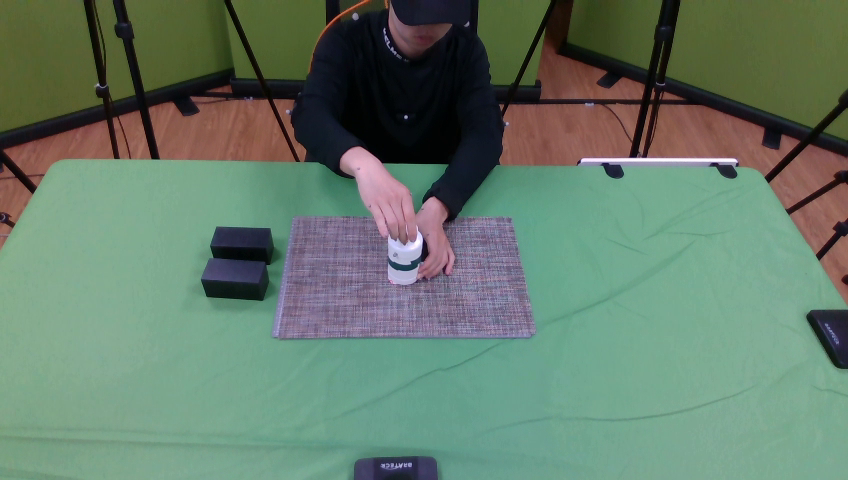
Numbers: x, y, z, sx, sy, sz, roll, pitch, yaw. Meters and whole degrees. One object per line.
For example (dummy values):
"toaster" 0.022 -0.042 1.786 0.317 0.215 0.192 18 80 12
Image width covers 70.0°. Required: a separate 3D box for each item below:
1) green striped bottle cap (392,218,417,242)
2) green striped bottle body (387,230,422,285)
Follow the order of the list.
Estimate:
"green striped bottle cap" -0.034 -0.016 1.065 0.044 0.020 0.044 1 58 -1
"green striped bottle body" -0.036 0.021 1.102 0.063 0.120 0.063 2 46 -2
